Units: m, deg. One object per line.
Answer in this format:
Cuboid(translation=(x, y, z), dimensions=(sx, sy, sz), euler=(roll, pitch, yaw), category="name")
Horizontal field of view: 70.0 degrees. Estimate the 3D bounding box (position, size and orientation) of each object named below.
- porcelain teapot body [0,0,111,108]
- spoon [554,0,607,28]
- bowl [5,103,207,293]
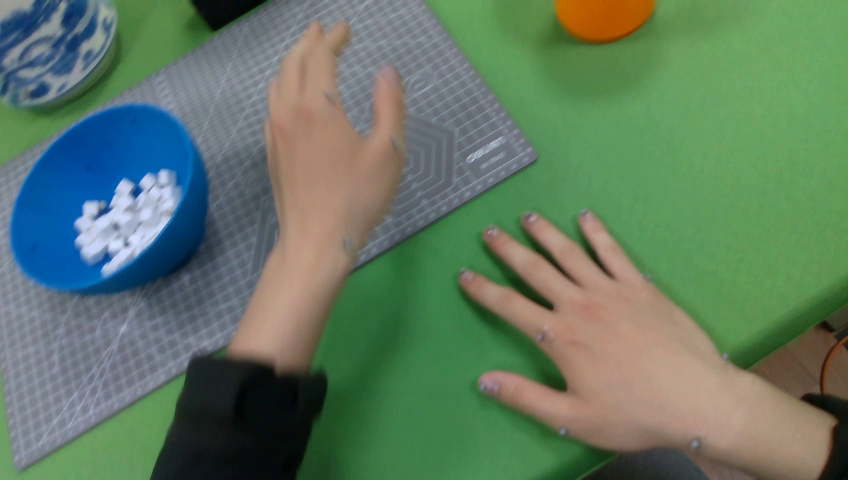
Cuboid(translation=(-0.427, -0.216, 0.529), dimensions=(0.205, 0.227, 0.144), euler=(-26, 63, 4), category="porcelain teapot body")
Cuboid(translation=(0.154, -0.238, 0.425), dimensions=(0.022, 0.194, 0.041), euler=(-12, 56, -41), category="spoon")
Cuboid(translation=(-0.225, -0.021, 0.466), dimensions=(0.151, 0.077, 0.150), euler=(-6, 65, 13), category="bowl")
